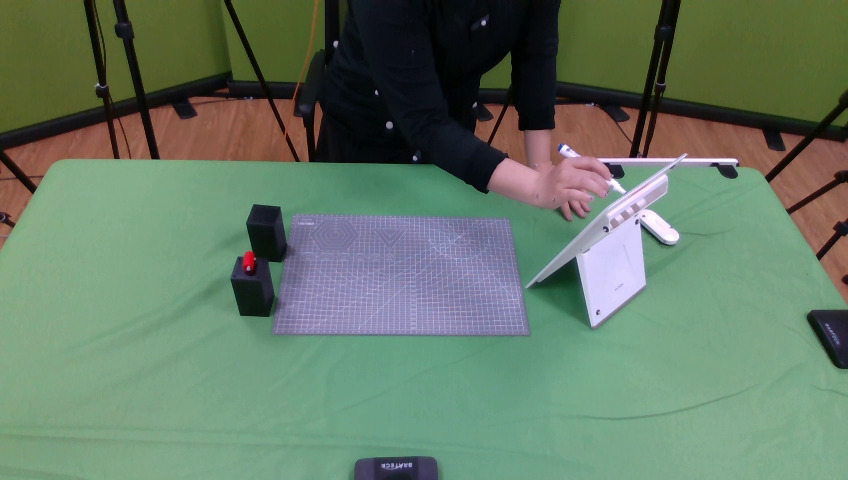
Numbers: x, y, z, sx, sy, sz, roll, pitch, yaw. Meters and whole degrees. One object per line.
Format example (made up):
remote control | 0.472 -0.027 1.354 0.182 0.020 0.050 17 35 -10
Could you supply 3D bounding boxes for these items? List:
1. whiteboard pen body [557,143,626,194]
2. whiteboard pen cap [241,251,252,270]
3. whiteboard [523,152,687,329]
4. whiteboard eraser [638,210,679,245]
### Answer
whiteboard pen body | 0.277 -0.114 0.992 0.140 0.017 0.017 39 54 14
whiteboard pen cap | -0.293 0.033 1.006 0.017 0.017 0.032 -3 44 -7
whiteboard | 0.347 0.025 1.046 0.217 0.306 0.143 -30 74 -29
whiteboard eraser | 0.486 -0.027 1.260 0.041 0.019 0.100 -20 50 -20
